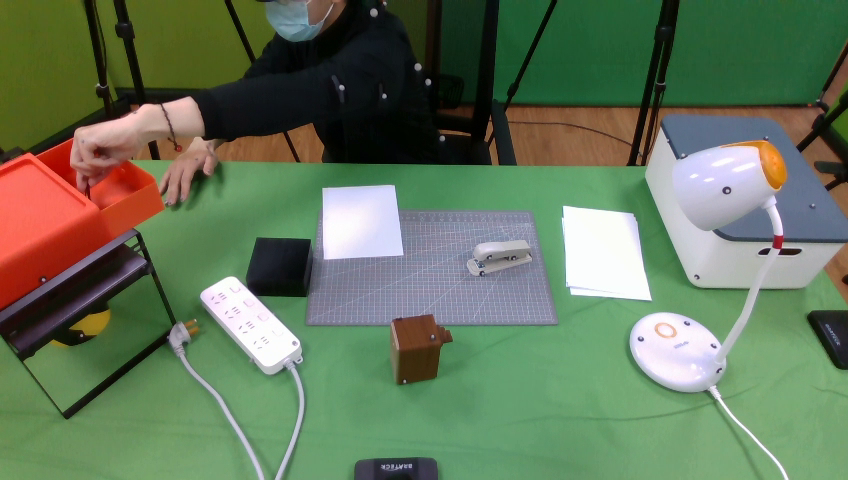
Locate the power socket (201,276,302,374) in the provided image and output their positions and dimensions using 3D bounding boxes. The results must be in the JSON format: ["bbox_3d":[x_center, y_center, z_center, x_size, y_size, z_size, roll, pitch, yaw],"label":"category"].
[{"bbox_3d":[-0.297,0.141,1.034,0.072,0.033,0.225,-34,58,-30],"label":"power socket"}]

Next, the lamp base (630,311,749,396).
[{"bbox_3d":[0.447,0.143,0.983,0.161,0.181,0.178,-24,55,-24],"label":"lamp base"}]

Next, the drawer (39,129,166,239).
[{"bbox_3d":[-0.547,-0.062,0.930,0.193,0.073,0.211,32,53,23],"label":"drawer"}]

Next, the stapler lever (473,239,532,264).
[{"bbox_3d":[0.150,0.017,1.155,0.118,0.040,0.026,-13,50,-17],"label":"stapler lever"}]

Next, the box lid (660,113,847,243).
[{"bbox_3d":[0.628,-0.132,1.170,0.263,0.015,0.369,1,46,-3],"label":"box lid"}]

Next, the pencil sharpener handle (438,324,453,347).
[{"bbox_3d":[0.036,0.155,0.975,0.031,0.068,0.036,-8,70,-11],"label":"pencil sharpener handle"}]

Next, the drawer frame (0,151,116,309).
[{"bbox_3d":[-0.604,-0.012,0.875,0.201,0.083,0.213,31,52,22],"label":"drawer frame"}]

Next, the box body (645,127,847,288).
[{"bbox_3d":[0.625,-0.080,1.222,0.254,0.161,0.361,0,46,-3],"label":"box body"}]

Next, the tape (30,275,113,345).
[{"bbox_3d":[-0.593,0.117,1.021,0.117,0.053,0.116,3,46,-2],"label":"tape"}]

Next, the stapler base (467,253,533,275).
[{"bbox_3d":[0.147,0.035,1.171,0.131,0.024,0.041,-12,50,-17],"label":"stapler base"}]

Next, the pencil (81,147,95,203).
[{"bbox_3d":[-0.518,-0.072,0.939,0.012,0.012,0.193,-15,62,-18],"label":"pencil"}]

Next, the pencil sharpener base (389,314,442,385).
[{"bbox_3d":[-0.013,0.175,0.971,0.077,0.107,0.061,-8,47,-11],"label":"pencil sharpener base"}]

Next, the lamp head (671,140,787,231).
[{"bbox_3d":[0.415,-0.078,0.811,0.113,0.123,0.112,13,70,-37],"label":"lamp head"}]

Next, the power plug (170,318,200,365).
[{"bbox_3d":[-0.392,0.167,1.015,0.052,0.035,0.072,-30,92,-24],"label":"power plug"}]
